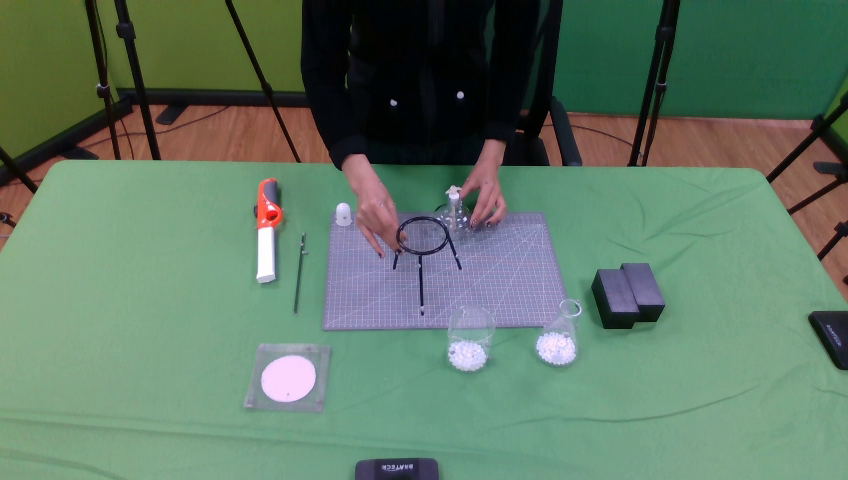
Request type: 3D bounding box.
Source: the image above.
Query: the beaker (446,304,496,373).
[{"bbox_3d":[0.072,0.166,0.992,0.084,0.101,0.073,-21,51,-22],"label":"beaker"}]

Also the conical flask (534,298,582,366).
[{"bbox_3d":[0.229,0.149,1.005,0.075,0.122,0.075,2,46,-2],"label":"conical flask"}]

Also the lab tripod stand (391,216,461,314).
[{"bbox_3d":[0.001,0.032,1.060,0.148,0.132,0.147,-1,44,1],"label":"lab tripod stand"}]

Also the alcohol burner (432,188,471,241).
[{"bbox_3d":[0.055,-0.056,1.191,0.078,0.120,0.077,1,47,-1],"label":"alcohol burner"}]

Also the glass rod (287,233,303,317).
[{"bbox_3d":[-0.241,0.061,1.135,0.008,0.008,0.198,1,48,-2],"label":"glass rod"}]

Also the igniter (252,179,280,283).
[{"bbox_3d":[-0.312,-0.027,1.197,0.057,0.025,0.274,-12,47,-1],"label":"igniter"}]

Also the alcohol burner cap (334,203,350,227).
[{"bbox_3d":[-0.166,-0.053,1.220,0.034,0.048,0.033,2,46,-2],"label":"alcohol burner cap"}]

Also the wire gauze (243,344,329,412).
[{"bbox_3d":[-0.221,0.219,0.980,0.125,0.011,0.120,2,45,0],"label":"wire gauze"}]
